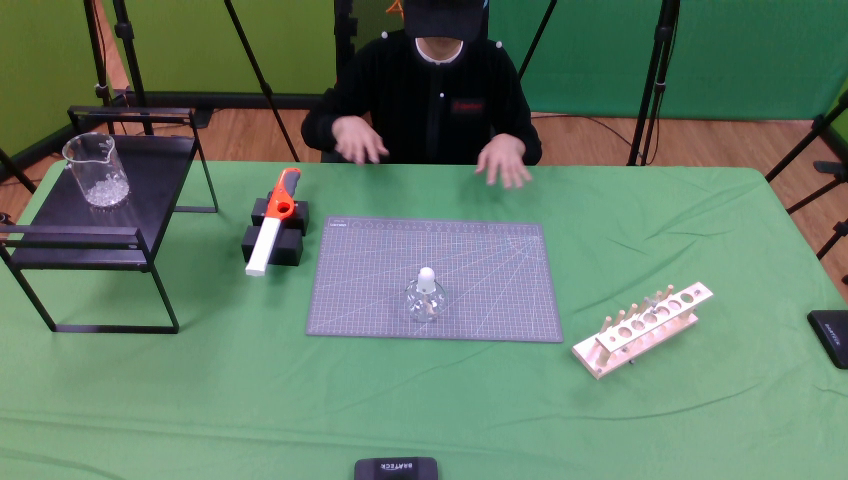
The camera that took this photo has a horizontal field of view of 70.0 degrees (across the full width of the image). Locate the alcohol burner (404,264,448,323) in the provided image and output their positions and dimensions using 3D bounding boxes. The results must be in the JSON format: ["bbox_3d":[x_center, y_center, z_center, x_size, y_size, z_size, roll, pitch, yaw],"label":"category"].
[{"bbox_3d":[0.003,0.087,1.042,0.078,0.120,0.077,1,45,0],"label":"alcohol burner"}]

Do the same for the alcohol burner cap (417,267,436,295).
[{"bbox_3d":[0.004,0.066,1.019,0.034,0.048,0.033,0,47,1],"label":"alcohol burner cap"}]

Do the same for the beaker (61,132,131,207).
[{"bbox_3d":[-0.512,-0.107,0.959,0.083,0.101,0.074,29,51,22],"label":"beaker"}]

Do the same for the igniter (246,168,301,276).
[{"bbox_3d":[-0.282,-0.044,1.149,0.057,0.025,0.275,8,48,-1],"label":"igniter"}]

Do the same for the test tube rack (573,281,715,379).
[{"bbox_3d":[0.378,0.140,1.038,0.242,0.085,0.066,-22,51,-23],"label":"test tube rack"}]

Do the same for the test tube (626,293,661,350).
[{"bbox_3d":[0.350,0.134,0.973,0.017,0.151,0.017,1,49,-1],"label":"test tube"}]
